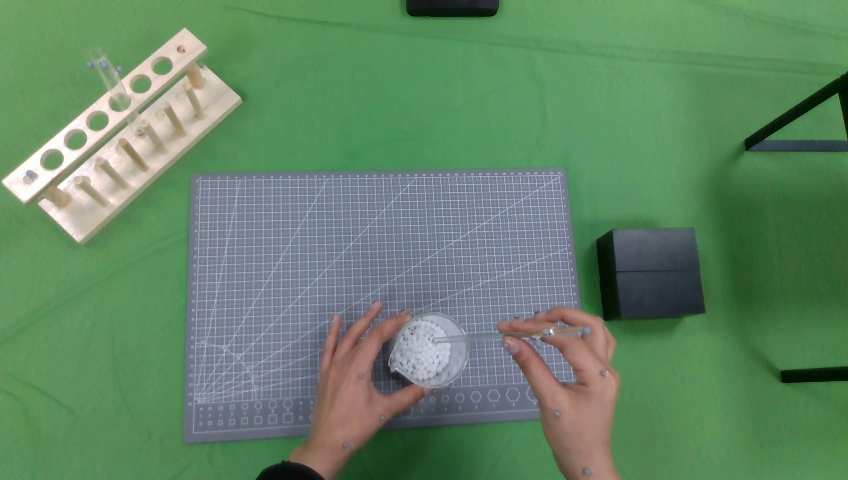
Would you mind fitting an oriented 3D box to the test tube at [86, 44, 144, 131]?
[{"bbox_3d":[-0.313,-0.152,0.623,0.017,0.150,0.017,3,72,-9],"label":"test tube"}]

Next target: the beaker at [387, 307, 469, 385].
[{"bbox_3d":[-0.003,0.114,0.639,0.084,0.100,0.074,-17,83,-11],"label":"beaker"}]

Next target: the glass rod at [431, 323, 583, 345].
[{"bbox_3d":[0.059,0.080,0.506,0.008,0.199,0.008,8,75,-30],"label":"glass rod"}]

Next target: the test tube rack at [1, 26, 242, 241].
[{"bbox_3d":[-0.319,-0.115,0.664,0.066,0.085,0.242,42,76,5],"label":"test tube rack"}]
